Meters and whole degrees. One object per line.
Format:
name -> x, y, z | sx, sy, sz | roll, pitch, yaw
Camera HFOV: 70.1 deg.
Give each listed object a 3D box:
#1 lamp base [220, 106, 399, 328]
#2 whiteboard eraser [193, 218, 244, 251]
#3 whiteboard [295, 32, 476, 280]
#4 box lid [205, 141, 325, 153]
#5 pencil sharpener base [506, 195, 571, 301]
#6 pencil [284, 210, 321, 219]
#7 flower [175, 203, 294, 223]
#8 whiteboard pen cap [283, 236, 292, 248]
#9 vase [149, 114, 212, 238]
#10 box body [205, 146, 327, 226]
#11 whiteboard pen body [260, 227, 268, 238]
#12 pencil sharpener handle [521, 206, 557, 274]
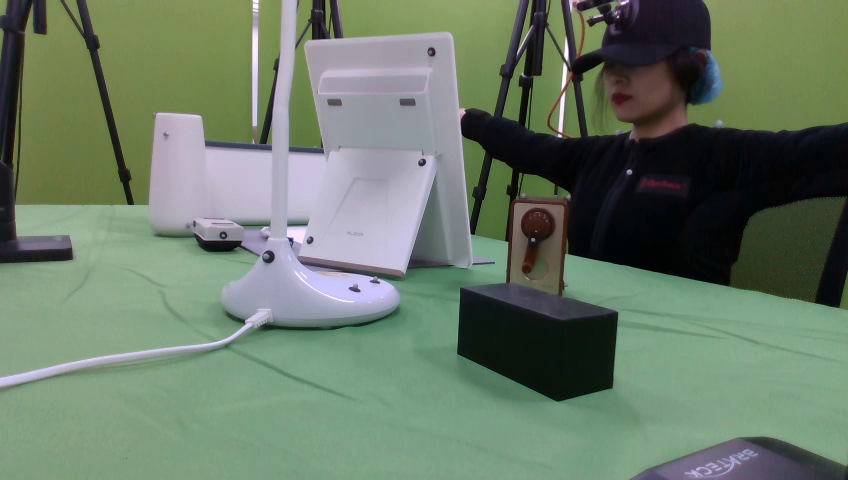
lamp base -> -0.101, -0.023, 0.531 | 0.160, 0.180, 0.179 | 4, 10, 10
whiteboard eraser -> -0.307, -0.009, 0.900 | 0.056, 0.042, 0.112 | -4, 10, -28
whiteboard -> -0.076, -0.084, 0.747 | 0.216, 0.305, 0.144 | 7, 28, 29
box lid -> -0.357, -0.196, 1.284 | 0.373, 0.015, 0.262 | -2, 9, -32
pencil sharpener base -> 0.126, 0.007, 0.662 | 0.061, 0.107, 0.077 | 4, 8, 13
pencil -> -0.276, -0.055, 1.346 | 0.012, 0.012, 0.193 | -3, 0, -35
flower -> -0.390, -0.062, 1.312 | 0.044, 0.038, 0.363 | -15, -2, 23
whiteboard pen cap -> -0.211, 0.003, 0.913 | 0.018, 0.018, 0.033 | -2, 6, -28
vase -> -0.405, -0.106, 1.006 | 0.098, 0.200, 0.098 | 2, 6, 0
box body -> -0.363, -0.123, 1.293 | 0.366, 0.160, 0.253 | -2, 9, -32
whiteboard pen body -> -0.239, -0.005, 0.964 | 0.017, 0.017, 0.140 | -2, 9, -28
pencil sharpener handle -> 0.112, 0.000, 0.611 | 0.036, 0.067, 0.031 | 13, 10, 11
